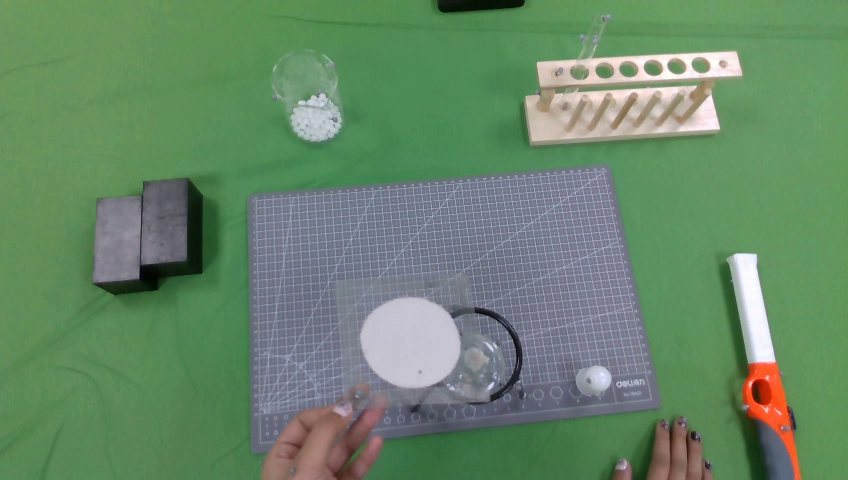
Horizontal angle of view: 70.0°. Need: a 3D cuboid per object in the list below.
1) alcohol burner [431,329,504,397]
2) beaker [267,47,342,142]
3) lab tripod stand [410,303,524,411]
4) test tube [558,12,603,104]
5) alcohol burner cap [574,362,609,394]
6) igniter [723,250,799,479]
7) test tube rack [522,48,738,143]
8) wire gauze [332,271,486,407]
[{"bbox_3d":[0.046,0.127,0.627,0.078,0.120,0.077,1,70,-2],"label":"alcohol burner"},{"bbox_3d":[-0.137,-0.167,0.725,0.074,0.101,0.083,-35,77,-11],"label":"beaker"},{"bbox_3d":[0.042,0.121,0.619,0.148,0.132,0.147,0,71,0],"label":"lab tripod stand"},{"bbox_3d":[0.179,-0.206,0.703,0.017,0.151,0.017,1,68,-1],"label":"test tube"},{"bbox_3d":[0.185,0.150,0.662,0.034,0.048,0.033,0,71,0],"label":"alcohol burner cap"},{"bbox_3d":[0.377,0.145,0.681,0.057,0.025,0.275,2,72,-11],"label":"igniter"},{"bbox_3d":[0.251,-0.176,0.748,0.242,0.085,0.066,-4,72,-3],"label":"test tube rack"},{"bbox_3d":[-0.015,0.083,0.526,0.125,0.011,0.120,-2,57,-9],"label":"wire gauze"}]
